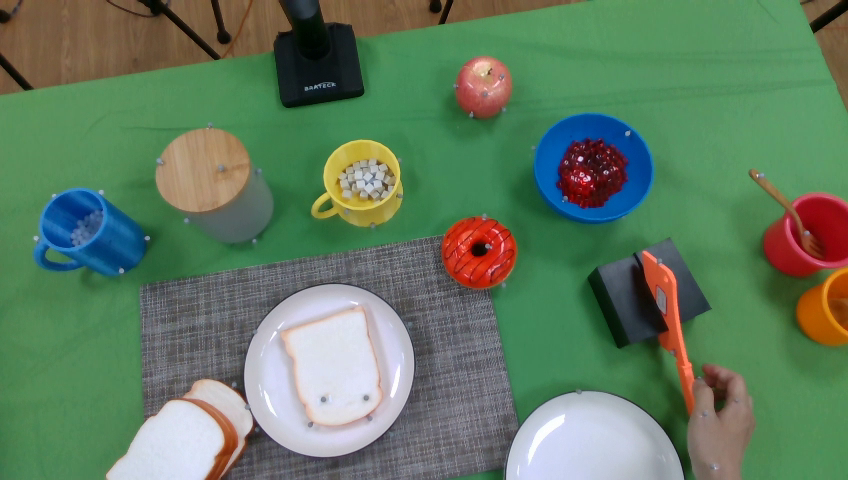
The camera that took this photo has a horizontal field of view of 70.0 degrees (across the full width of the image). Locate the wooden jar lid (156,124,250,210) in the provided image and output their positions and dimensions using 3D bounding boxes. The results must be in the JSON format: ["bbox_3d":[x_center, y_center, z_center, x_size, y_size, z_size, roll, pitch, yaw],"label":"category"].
[{"bbox_3d":[-0.257,-0.083,0.710,0.108,0.021,0.107,0,71,1],"label":"wooden jar lid"}]

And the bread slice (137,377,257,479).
[{"bbox_3d":[-0.259,0.232,0.720,0.104,0.019,0.131,28,76,9],"label":"bread slice"}]

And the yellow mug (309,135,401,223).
[{"bbox_3d":[-0.095,-0.072,0.802,0.131,0.064,0.099,-33,75,-9],"label":"yellow mug"}]

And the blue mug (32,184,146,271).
[{"bbox_3d":[-0.428,-0.004,0.763,0.116,0.106,0.082,-35,75,-9],"label":"blue mug"}]

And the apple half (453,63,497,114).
[{"bbox_3d":[0.062,-0.199,0.835,0.033,0.082,0.081,-41,76,-16],"label":"apple half"}]

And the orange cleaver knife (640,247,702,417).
[{"bbox_3d":[0.296,0.110,0.732,0.012,0.077,0.212,-19,102,-4],"label":"orange cleaver knife"}]

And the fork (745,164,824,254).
[{"bbox_3d":[0.446,-0.037,0.743,0.209,0.018,0.028,33,70,-33],"label":"fork"}]

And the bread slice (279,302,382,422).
[{"bbox_3d":[-0.107,0.153,0.744,0.107,0.018,0.133,-20,73,-5],"label":"bread slice"}]

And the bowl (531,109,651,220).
[{"bbox_3d":[0.211,-0.088,0.798,0.151,0.077,0.150,0,73,1],"label":"bowl"}]

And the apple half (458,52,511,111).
[{"bbox_3d":[0.090,-0.224,0.844,0.053,0.075,0.080,-40,72,-17],"label":"apple half"}]

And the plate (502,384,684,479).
[{"bbox_3d":[0.193,0.275,0.705,0.209,0.038,0.208,0,72,1],"label":"plate"}]

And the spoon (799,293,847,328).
[{"bbox_3d":[0.545,0.059,0.711,0.022,0.193,0.041,3,63,-46],"label":"spoon"}]

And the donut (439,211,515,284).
[{"bbox_3d":[0.068,0.009,0.782,0.099,0.048,0.098,0,73,0],"label":"donut"}]

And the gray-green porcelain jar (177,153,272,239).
[{"bbox_3d":[-0.256,-0.063,0.769,0.106,0.127,0.105,0,72,1],"label":"gray-green porcelain jar"}]

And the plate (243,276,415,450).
[{"bbox_3d":[-0.114,0.149,0.744,0.208,0.039,0.206,0,73,1],"label":"plate"}]
